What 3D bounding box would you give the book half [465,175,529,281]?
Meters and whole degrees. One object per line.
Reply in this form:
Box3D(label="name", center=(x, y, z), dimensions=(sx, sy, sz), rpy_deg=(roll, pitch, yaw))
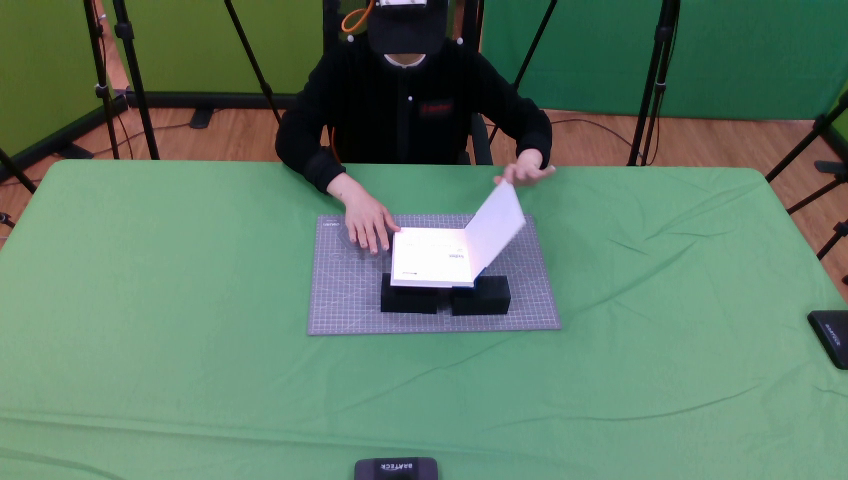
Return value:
Box3D(label="book half", center=(0.127, -0.027, 1.103), dimensions=(0.007, 0.143, 0.209), rpy_deg=(34, 23, -16))
